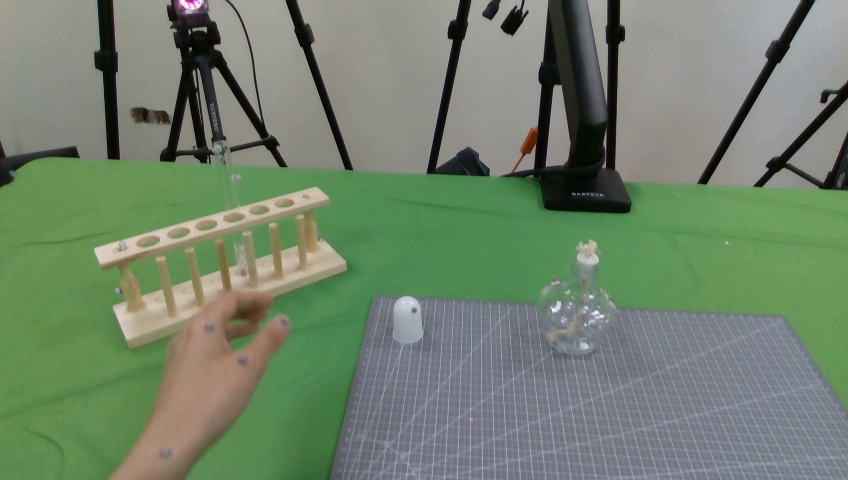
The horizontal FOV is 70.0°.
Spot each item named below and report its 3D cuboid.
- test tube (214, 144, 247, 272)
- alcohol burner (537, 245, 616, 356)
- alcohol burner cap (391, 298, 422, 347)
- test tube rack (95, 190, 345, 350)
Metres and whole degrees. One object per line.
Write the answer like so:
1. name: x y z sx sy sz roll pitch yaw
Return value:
1. test tube: -0.208 -0.031 0.657 0.017 0.151 0.017 0 28 1
2. alcohol burner: 0.151 0.054 0.592 0.078 0.120 0.077 1 34 -1
3. alcohol burner cap: -0.018 0.081 0.614 0.034 0.048 0.033 1 33 0
4. test tube rack: -0.211 0.025 0.662 0.243 0.086 0.066 -20 37 -29
